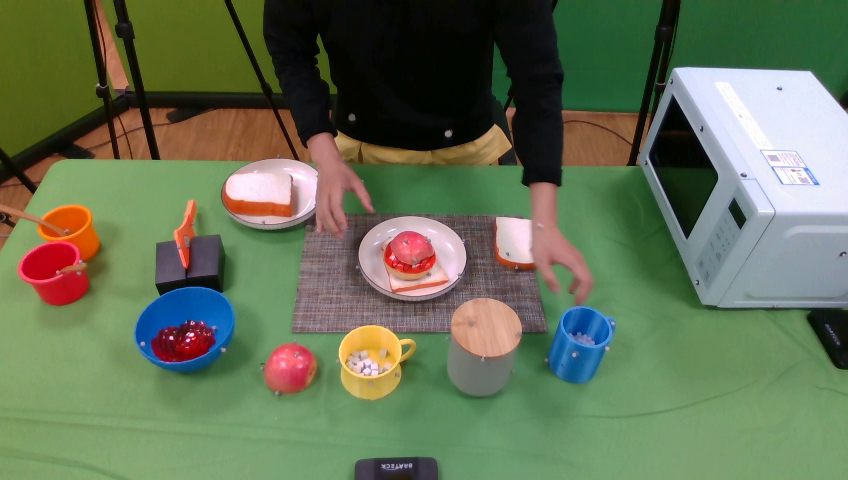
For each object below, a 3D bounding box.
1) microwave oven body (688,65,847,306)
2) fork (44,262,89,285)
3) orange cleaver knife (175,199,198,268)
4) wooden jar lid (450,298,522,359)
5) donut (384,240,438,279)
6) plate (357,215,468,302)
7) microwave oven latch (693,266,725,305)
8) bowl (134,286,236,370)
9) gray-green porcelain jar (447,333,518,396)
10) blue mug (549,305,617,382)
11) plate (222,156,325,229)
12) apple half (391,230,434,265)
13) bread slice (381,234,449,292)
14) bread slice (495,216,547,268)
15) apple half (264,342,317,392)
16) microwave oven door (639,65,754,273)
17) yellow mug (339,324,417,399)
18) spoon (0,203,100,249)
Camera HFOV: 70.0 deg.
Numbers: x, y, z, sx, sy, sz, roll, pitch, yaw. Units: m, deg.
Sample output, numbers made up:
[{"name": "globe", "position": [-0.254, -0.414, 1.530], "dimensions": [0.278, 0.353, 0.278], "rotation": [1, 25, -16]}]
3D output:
[{"name": "microwave oven body", "position": [0.669, -0.111, 1.176], "dimensions": [0.326, 0.261, 0.439], "rotation": [0, 46, -3]}, {"name": "fork", "position": [-0.598, 0.054, 1.014], "dimensions": [0.207, 0.019, 0.028], "rotation": [-15, 29, 45]}, {"name": "orange cleaver knife", "position": [-0.438, -0.017, 1.138], "dimensions": [0.012, 0.077, 0.210], "rotation": [-14, 27, -7]}, {"name": "wooden jar lid", "position": [0.093, 0.135, 0.914], "dimensions": [0.108, 0.021, 0.107], "rotation": [3, 48, -3]}, {"name": "donut", "position": [-0.025, 0.029, 1.109], "dimensions": [0.099, 0.048, 0.098], "rotation": [2, 47, -2]}, {"name": "plate", "position": [-0.022, 0.037, 1.142], "dimensions": [0.208, 0.039, 0.206], "rotation": [2, 46, -2]}, {"name": "microwave oven latch", "position": [0.523, 0.082, 1.115], "dimensions": [0.030, 0.029, 0.078], "rotation": [3, 46, 0]}, {"name": "bowl", "position": [-0.377, 0.156, 0.981], "dimensions": [0.151, 0.077, 0.150], "rotation": [2, 46, -2]}, {"name": "gray-green porcelain jar", "position": [0.091, 0.178, 0.960], "dimensions": [0.106, 0.127, 0.105], "rotation": [2, 46, -2]}, {"name": "blue mug", "position": [0.269, 0.166, 0.998], "dimensions": [0.116, 0.106, 0.082], "rotation": [-19, 51, -21]}, {"name": "plate", "position": [-0.308, -0.095, 1.251], "dimensions": [0.209, 0.038, 0.208], "rotation": [2, 47, -2]}, {"name": "apple half", "position": [-0.021, 0.004, 1.085], "dimensions": [0.081, 0.033, 0.081], "rotation": [7, 43, -6]}, {"name": "bread slice", "position": [-0.027, 0.039, 1.140], "dimensions": [0.107, 0.018, 0.133], "rotation": [-11, 49, -16]}, {"name": "bread slice", "position": [0.194, 0.002, 1.205], "dimensions": [0.105, 0.019, 0.131], "rotation": [5, 45, 2]}, {"name": "apple half", "position": [-0.214, 0.198, 0.970], "dimensions": [0.074, 0.053, 0.080], "rotation": [19, 48, 10]}, {"name": "microwave oven door", "position": [0.522, -0.147, 1.193], "dimensions": [0.039, 0.245, 0.353], "rotation": [0, 47, -3]}, {"name": "yellow mug", "position": [-0.072, 0.190, 0.978], "dimensions": [0.131, 0.064, 0.099], "rotation": [-17, 50, -20]}, {"name": "spoon", "position": [-0.683, -0.031, 1.088], "dimensions": [0.195, 0.021, 0.041], "rotation": [33, 33, -38]}]
